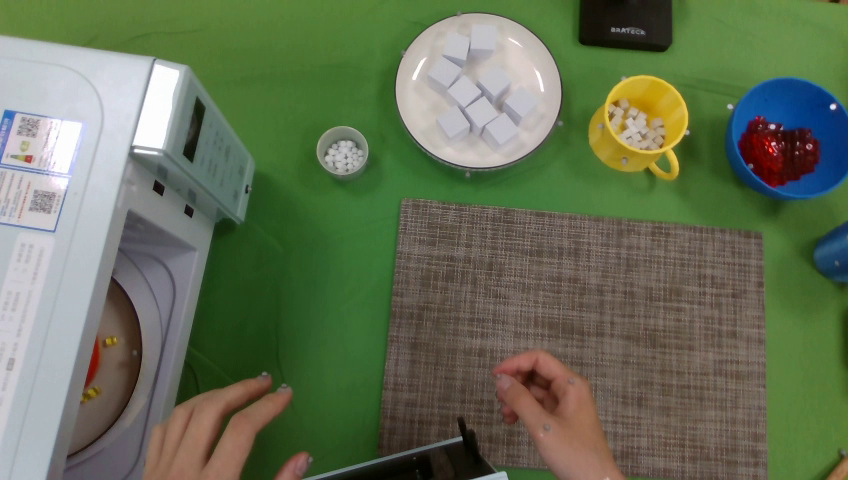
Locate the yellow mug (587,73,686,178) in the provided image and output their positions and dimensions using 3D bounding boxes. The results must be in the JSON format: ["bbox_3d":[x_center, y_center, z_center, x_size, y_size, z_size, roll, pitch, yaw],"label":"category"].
[{"bbox_3d":[0.267,-0.132,0.740,0.100,0.064,0.130,-31,82,-7],"label":"yellow mug"}]

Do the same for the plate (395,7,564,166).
[{"bbox_3d":[0.068,-0.188,0.758,0.208,0.039,0.206,0,79,-2],"label":"plate"}]

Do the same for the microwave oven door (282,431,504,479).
[{"bbox_3d":[-0.111,0.244,0.544,0.356,0.244,0.039,-13,78,-5],"label":"microwave oven door"}]

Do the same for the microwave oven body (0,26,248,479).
[{"bbox_3d":[-0.389,0.056,0.574,0.326,0.261,0.440,9,79,-1],"label":"microwave oven body"}]

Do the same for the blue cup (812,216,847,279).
[{"bbox_3d":[0.511,0.007,0.704,0.093,0.100,0.092,1,77,-2],"label":"blue cup"}]

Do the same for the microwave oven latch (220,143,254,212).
[{"bbox_3d":[-0.220,-0.074,0.705,0.030,0.029,0.079,12,79,0],"label":"microwave oven latch"}]

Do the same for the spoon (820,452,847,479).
[{"bbox_3d":[0.422,0.308,0.683,0.193,0.022,0.041,-39,71,-9],"label":"spoon"}]

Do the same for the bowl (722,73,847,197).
[{"bbox_3d":[0.426,-0.117,0.738,0.151,0.077,0.150,0,79,-2],"label":"bowl"}]

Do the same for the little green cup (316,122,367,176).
[{"bbox_3d":[-0.098,-0.107,0.733,0.061,0.039,0.061,0,80,-2],"label":"little green cup"}]

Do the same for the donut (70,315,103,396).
[{"bbox_3d":[-0.372,0.110,0.605,0.099,0.048,0.098,1,81,-3],"label":"donut"}]

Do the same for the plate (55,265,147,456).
[{"bbox_3d":[-0.385,0.115,0.617,0.209,0.038,0.208,1,79,-3],"label":"plate"}]
